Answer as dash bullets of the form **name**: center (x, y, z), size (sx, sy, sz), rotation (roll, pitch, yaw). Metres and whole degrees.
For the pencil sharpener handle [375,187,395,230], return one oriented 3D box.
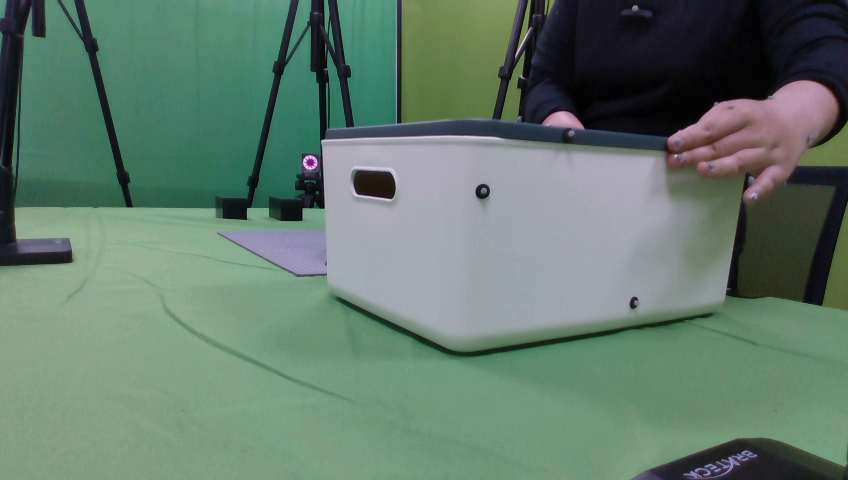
- **pencil sharpener handle**: center (-0.059, -0.050, 0.958), size (0.031, 0.067, 0.036), rotation (-1, 13, -30)

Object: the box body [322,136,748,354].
- **box body**: center (0.105, -0.012, 0.603), size (0.366, 0.160, 0.253), rotation (-2, 8, -33)

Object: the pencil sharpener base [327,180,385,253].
- **pencil sharpener base**: center (-0.103, -0.037, 0.932), size (0.077, 0.107, 0.061), rotation (-1, 7, -30)

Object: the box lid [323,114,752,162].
- **box lid**: center (0.111, -0.091, 0.601), size (0.373, 0.015, 0.262), rotation (-1, 6, -34)
